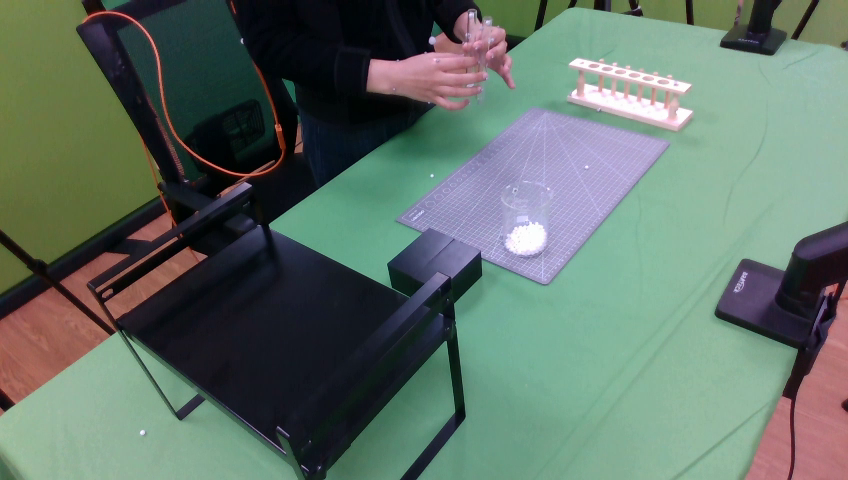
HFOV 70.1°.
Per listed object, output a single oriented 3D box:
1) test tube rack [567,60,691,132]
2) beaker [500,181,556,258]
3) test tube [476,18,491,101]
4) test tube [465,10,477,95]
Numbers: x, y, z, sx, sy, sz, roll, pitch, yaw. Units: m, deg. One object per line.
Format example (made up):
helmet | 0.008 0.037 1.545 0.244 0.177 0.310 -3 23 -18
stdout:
test tube rack | 0.411 -0.299 1.217 0.240 0.085 0.067 26 51 33
beaker | 0.159 -0.030 0.922 0.084 0.100 0.073 -13 41 -8
test tube | 0.101 -0.304 1.031 0.017 0.151 0.017 0 45 0
test tube | 0.080 -0.317 1.035 0.017 0.151 0.017 0 42 1
